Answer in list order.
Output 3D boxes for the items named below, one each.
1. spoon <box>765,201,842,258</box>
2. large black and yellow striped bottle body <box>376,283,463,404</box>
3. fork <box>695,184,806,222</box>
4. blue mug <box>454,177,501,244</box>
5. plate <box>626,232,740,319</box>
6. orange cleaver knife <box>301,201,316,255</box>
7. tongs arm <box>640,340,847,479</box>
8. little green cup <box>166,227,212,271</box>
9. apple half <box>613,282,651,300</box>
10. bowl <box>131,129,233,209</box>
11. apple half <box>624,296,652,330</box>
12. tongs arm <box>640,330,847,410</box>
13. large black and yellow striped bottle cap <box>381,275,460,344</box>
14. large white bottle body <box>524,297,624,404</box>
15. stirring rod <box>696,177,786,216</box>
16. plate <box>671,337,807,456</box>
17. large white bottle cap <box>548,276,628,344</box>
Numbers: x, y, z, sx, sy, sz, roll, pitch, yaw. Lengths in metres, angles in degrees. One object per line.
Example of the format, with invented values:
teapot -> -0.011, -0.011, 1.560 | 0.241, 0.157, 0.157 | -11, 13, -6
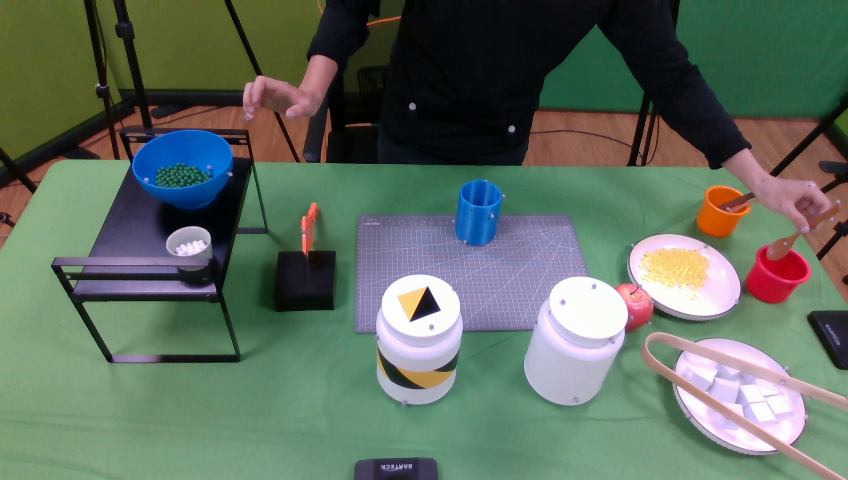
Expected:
spoon -> 0.659, -0.018, 1.060 | 0.021, 0.194, 0.041 | 11, 65, 3
large black and yellow striped bottle body -> -0.010, 0.155, 0.937 | 0.131, 0.185, 0.130 | 2, 47, -2
fork -> 0.658, -0.074, 1.229 | 0.207, 0.019, 0.028 | -24, 31, 36
blue mug -> 0.106, -0.067, 1.208 | 0.082, 0.106, 0.116 | 5, 46, 1
plate -> 0.488, 0.071, 1.157 | 0.209, 0.038, 0.208 | 3, 46, -3
orange cleaver knife -> -0.221, -0.027, 1.160 | 0.012, 0.077, 0.210 | -1, 15, -4
tongs arm -> 0.500, 0.277, 0.919 | 0.386, 0.028, 0.028 | 34, 59, 22
little green cup -> -0.344, 0.014, 0.895 | 0.061, 0.039, 0.061 | 3, 46, -3
apple half -> 0.356, 0.109, 1.086 | 0.081, 0.075, 0.053 | -14, 44, -12
bowl -> -0.381, -0.103, 0.978 | 0.151, 0.077, 0.150 | 2, 46, -2
apple half -> 0.368, 0.135, 1.060 | 0.081, 0.081, 0.032 | -11, 43, -15
tongs arm -> 0.543, 0.225, 0.969 | 0.384, 0.026, 0.050 | 22, 52, 13
large black and yellow striped bottle cap -> -0.005, 0.098, 0.874 | 0.115, 0.019, 0.114 | 2, 45, -2
large white bottle body -> 0.235, 0.159, 0.952 | 0.131, 0.185, 0.130 | 2, 47, -2
stirring rod -> 0.648, -0.087, 1.244 | 0.176, 0.006, 0.014 | -25, 51, 29
plate -> 0.503, 0.254, 0.984 | 0.208, 0.039, 0.206 | 2, 46, -2
large white bottle cap -> 0.240, 0.100, 0.890 | 0.115, 0.018, 0.114 | 3, 47, -3
